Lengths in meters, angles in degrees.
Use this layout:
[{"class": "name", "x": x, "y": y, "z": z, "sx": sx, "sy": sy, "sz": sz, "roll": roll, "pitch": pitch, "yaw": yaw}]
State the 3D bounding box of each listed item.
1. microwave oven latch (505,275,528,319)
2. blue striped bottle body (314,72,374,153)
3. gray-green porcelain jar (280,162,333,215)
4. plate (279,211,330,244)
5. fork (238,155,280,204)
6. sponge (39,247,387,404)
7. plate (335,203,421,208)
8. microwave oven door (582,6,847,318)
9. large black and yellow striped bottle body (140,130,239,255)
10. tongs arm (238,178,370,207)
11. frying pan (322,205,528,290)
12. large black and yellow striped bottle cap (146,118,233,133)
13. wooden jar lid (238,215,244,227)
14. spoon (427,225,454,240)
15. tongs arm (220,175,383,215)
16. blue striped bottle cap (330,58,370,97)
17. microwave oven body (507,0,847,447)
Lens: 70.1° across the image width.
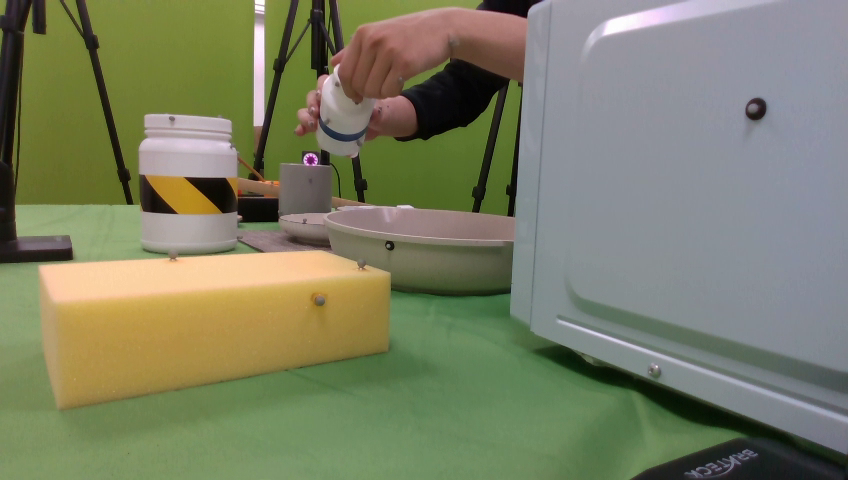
[{"class": "microwave oven latch", "x": 0.100, "y": 0.041, "z": 0.471, "sx": 0.079, "sy": 0.029, "sz": 0.030, "roll": -1, "pitch": 8, "yaw": -28}, {"class": "blue striped bottle body", "x": -0.096, "y": -0.159, "z": 0.724, "sx": 0.063, "sy": 0.063, "sz": 0.120, "roll": 0, "pitch": -19, "yaw": -15}, {"class": "gray-green porcelain jar", "x": -0.238, "y": -0.092, "z": 1.221, "sx": 0.106, "sy": 0.126, "sz": 0.106, "roll": 2, "pitch": 7, "yaw": 0}, {"class": "plate", "x": -0.139, "y": -0.022, "z": 1.021, "sx": 0.209, "sy": 0.038, "sz": 0.209, "roll": 2, "pitch": 8, "yaw": 0}, {"class": "fork", "x": -0.396, "y": -0.143, "z": 1.486, "sx": 0.028, "sy": 0.018, "sz": 0.208, "roll": 19, "pitch": -26, "yaw": 44}, {"class": "sponge", "x": -0.142, "y": 0.047, "z": 0.420, "sx": 0.208, "sy": 0.061, "sz": 0.117, "roll": -3, "pitch": 9, "yaw": -37}, {"class": "plate", "x": -0.089, "y": -0.053, "z": 1.309, "sx": 0.208, "sy": 0.039, "sz": 0.207, "roll": 2, "pitch": 8, "yaw": 0}, {"class": "microwave oven door", "x": 0.295, "y": -0.067, "z": 0.569, "sx": 0.358, "sy": 0.243, "sz": 0.039, "roll": -3, "pitch": 8, "yaw": -31}, {"class": "large black and yellow striped bottle body", "x": -0.336, "y": -0.078, "z": 0.871, "sx": 0.131, "sy": 0.184, "sz": 0.130, "roll": 2, "pitch": 8, "yaw": 0}, {"class": "tongs arm", "x": -0.241, "y": -0.095, "z": 1.373, "sx": 0.387, "sy": 0.026, "sz": 0.050, "roll": 9, "pitch": 0, "yaw": -37}, {"class": "frying pan", "x": 0.109, "y": -0.018, "z": 0.799, "sx": 0.490, "sy": 0.102, "sz": 0.305, "roll": -12, "pitch": 15, "yaw": -30}, {"class": "large black and yellow striped bottle cap", "x": -0.333, "y": -0.163, "z": 0.861, "sx": 0.115, "sy": 0.019, "sz": 0.115, "roll": 1, "pitch": 9, "yaw": 0}, {"class": "wooden jar lid", "x": -0.404, "y": -0.037, "z": 1.169, "sx": 0.108, "sy": 0.020, "sz": 0.108, "roll": 3, "pitch": 7, "yaw": 0}, {"class": "spoon", "x": 0.024, "y": -0.019, "z": 1.124, "sx": 0.042, "sy": 0.021, "sz": 0.193, "roll": -16, "pitch": 9, "yaw": -4}, {"class": "tongs arm", "x": -0.285, "y": -0.105, "z": 1.445, "sx": 0.389, "sy": 0.027, "sz": 0.028, "roll": 10, "pitch": -3, "yaw": -23}, {"class": "blue striped bottle cap", "x": -0.082, "y": -0.181, "z": 0.671, "sx": 0.045, "sy": 0.044, "sz": 0.020, "roll": 0, "pitch": -33, "yaw": -14}, {"class": "microwave oven body", "x": 0.331, "y": -0.042, "z": 0.425, "sx": 0.444, "sy": 0.260, "sz": 0.324, "roll": -2, "pitch": 8, "yaw": -31}]
